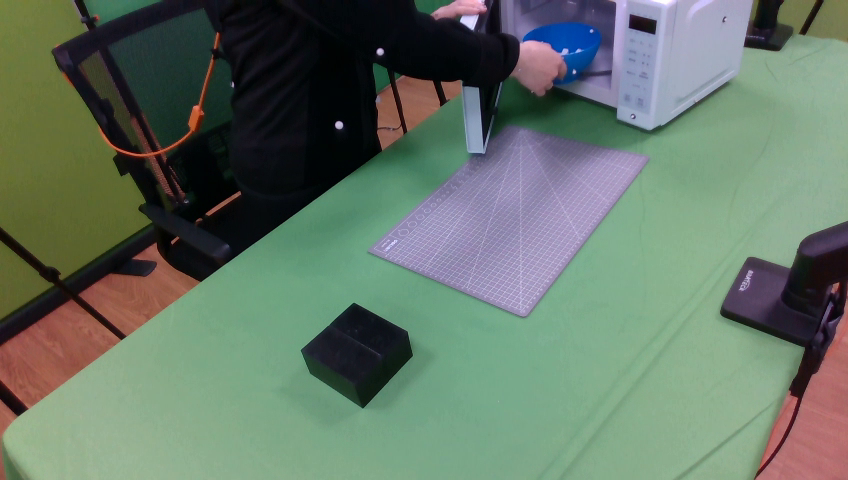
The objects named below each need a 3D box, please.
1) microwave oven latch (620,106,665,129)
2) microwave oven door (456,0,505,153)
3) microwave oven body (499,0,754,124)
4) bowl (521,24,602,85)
[{"bbox_3d":[0.413,-0.237,1.146,0.030,0.029,0.078,-31,44,-23],"label":"microwave oven latch"},{"bbox_3d":[0.119,-0.373,1.206,0.039,0.245,0.355,2,42,14],"label":"microwave oven door"},{"bbox_3d":[0.402,-0.458,1.259,0.327,0.261,0.437,-33,45,-24],"label":"microwave oven body"},{"bbox_3d":[0.266,-0.354,1.178,0.151,0.077,0.150,-5,41,5],"label":"bowl"}]
